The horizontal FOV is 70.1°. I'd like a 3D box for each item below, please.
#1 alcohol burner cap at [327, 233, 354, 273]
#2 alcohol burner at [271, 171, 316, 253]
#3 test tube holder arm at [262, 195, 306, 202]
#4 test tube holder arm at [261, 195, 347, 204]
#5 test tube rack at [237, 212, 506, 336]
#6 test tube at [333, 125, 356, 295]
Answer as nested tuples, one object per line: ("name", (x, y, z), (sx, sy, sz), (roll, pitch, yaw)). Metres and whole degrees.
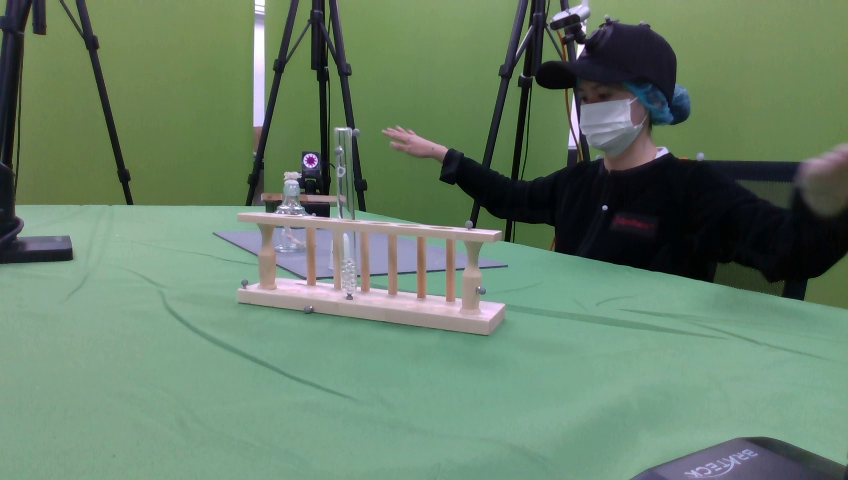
("alcohol burner cap", (-0.104, 0.016, 0.751), (0.034, 0.048, 0.034), (3, 6, 0))
("alcohol burner", (-0.196, -0.041, 0.884), (0.078, 0.119, 0.078), (3, 5, 0))
("test tube holder arm", (-0.278, -0.082, 1.203), (0.088, 0.015, 0.010), (0, 7, -30))
("test tube holder arm", (-0.242, -0.083, 1.231), (0.179, 0.015, 0.013), (-1, 7, -32))
("test tube rack", (-0.049, 0.024, 0.552), (0.242, 0.085, 0.067), (5, 8, 19))
("test tube", (-0.070, -0.025, 0.533), (0.017, 0.150, 0.017), (-1, 11, 0))
